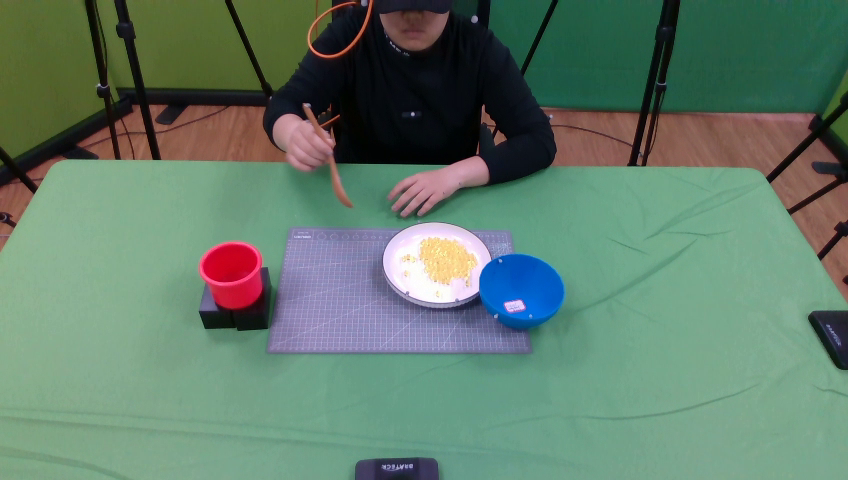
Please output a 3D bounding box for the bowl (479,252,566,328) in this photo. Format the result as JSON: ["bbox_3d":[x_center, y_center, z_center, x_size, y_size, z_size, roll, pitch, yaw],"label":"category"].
[{"bbox_3d":[0.167,0.102,1.067,0.151,0.077,0.150,2,46,-2],"label":"bowl"}]

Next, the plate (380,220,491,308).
[{"bbox_3d":[0.022,0.048,1.137,0.208,0.039,0.206,2,46,-2],"label":"plate"}]

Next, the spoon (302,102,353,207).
[{"bbox_3d":[-0.161,-0.139,1.011,0.021,0.194,0.041,-26,25,-18],"label":"spoon"}]
